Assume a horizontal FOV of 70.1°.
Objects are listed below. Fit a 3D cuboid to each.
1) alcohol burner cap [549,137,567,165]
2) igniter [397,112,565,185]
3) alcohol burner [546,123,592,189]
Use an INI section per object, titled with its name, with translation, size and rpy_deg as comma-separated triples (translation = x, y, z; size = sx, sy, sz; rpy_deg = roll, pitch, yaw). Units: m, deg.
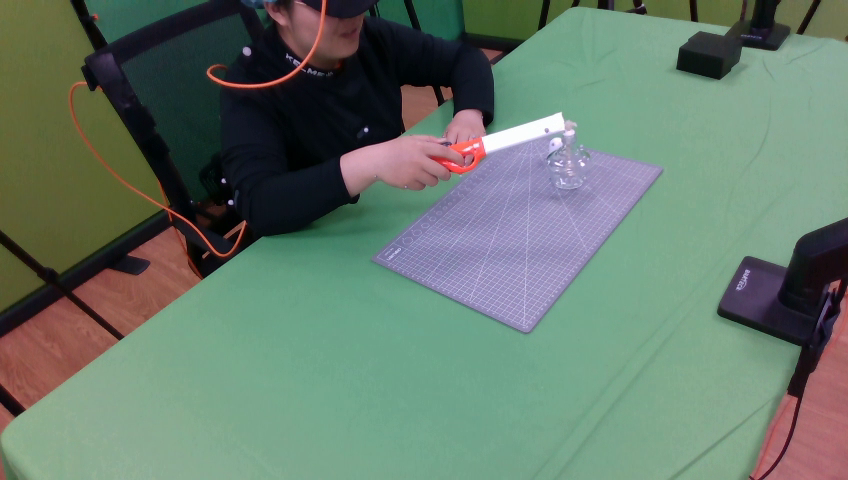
[alcohol burner cap]
translation = 0.247, -0.166, 1.114
size = 0.034, 0.048, 0.033
rpy_deg = -6, 40, 6
[igniter]
translation = 0.085, -0.143, 0.953
size = 0.276, 0.025, 0.057
rpy_deg = -17, 82, 9
[alcohol burner]
translation = 0.248, -0.147, 1.035
size = 0.078, 0.120, 0.077
rpy_deg = -7, 41, 6
